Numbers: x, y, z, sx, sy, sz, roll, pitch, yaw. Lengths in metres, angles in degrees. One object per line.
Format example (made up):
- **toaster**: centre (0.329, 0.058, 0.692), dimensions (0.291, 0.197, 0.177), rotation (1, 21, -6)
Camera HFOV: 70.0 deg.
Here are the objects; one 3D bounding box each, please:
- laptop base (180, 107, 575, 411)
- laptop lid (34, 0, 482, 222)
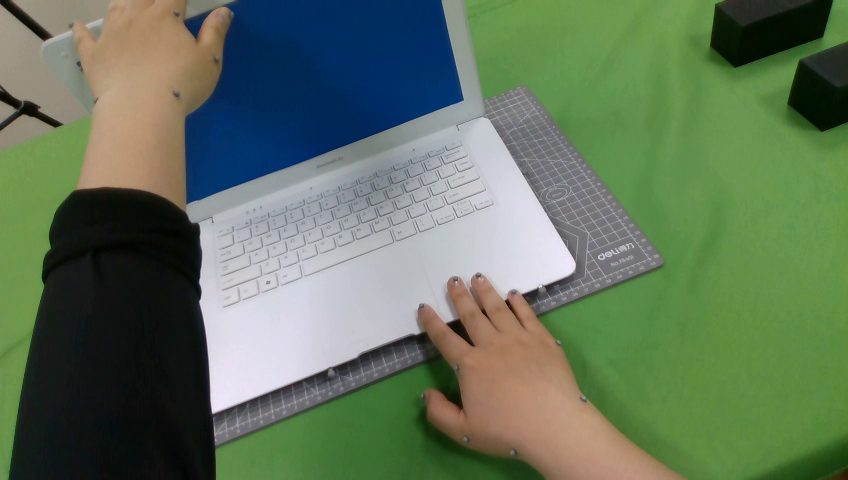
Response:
- **laptop base**: centre (-0.064, 0.003, 0.586), dimensions (0.354, 0.023, 0.233), rotation (-22, 52, -1)
- **laptop lid**: centre (-0.126, -0.154, 0.573), dimensions (0.357, 0.244, 0.013), rotation (-23, 49, 0)
